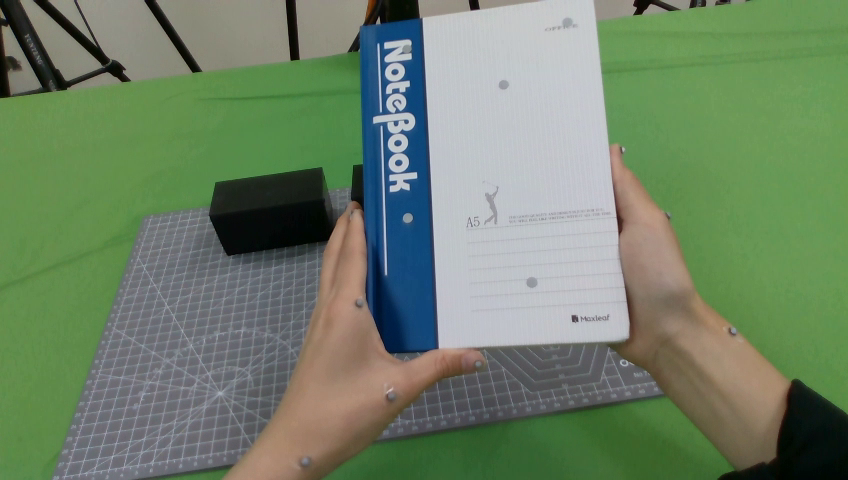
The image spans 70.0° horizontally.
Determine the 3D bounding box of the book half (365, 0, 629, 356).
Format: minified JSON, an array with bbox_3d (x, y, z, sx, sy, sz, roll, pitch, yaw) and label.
[{"bbox_3d":[0.037,-0.040,0.359,0.143,0.007,0.209,-5,77,9],"label":"book half"}]
